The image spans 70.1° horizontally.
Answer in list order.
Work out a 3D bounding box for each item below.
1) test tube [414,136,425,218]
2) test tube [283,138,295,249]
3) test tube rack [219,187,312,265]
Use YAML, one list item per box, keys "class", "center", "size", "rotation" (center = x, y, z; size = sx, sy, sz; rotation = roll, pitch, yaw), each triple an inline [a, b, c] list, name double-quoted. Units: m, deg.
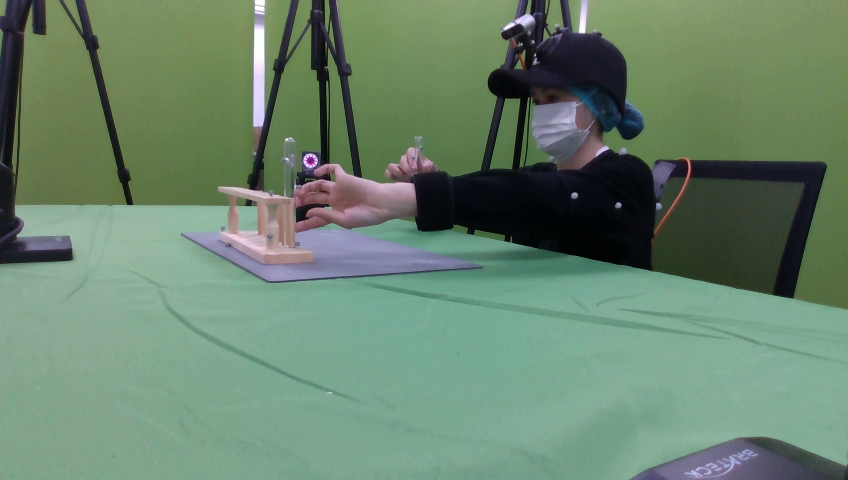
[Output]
- class: "test tube"
  center: [-0.008, -0.115, 1.110]
  size: [0.017, 0.150, 0.017]
  rotation: [-2, 11, 1]
- class: "test tube"
  center: [-0.182, -0.062, 0.815]
  size: [0.017, 0.150, 0.017]
  rotation: [2, 8, 0]
- class: "test tube rack"
  center: [-0.235, -0.027, 0.872]
  size: [0.067, 0.085, 0.241]
  rotation: [-2, 8, -31]
